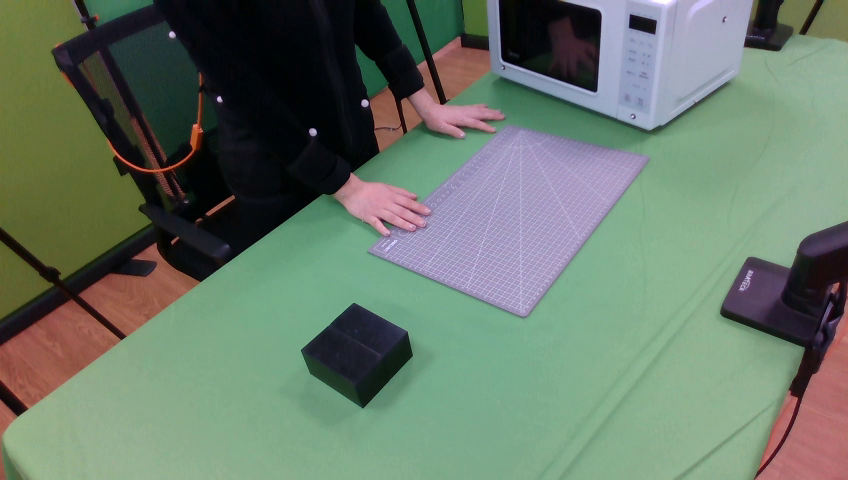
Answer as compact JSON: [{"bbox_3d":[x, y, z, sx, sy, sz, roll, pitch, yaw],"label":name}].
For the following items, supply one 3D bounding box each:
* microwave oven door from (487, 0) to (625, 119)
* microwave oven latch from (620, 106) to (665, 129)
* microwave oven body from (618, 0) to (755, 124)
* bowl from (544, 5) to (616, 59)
[{"bbox_3d":[0.262,-0.409,1.221,0.039,0.245,0.352,-33,45,-25],"label":"microwave oven door"},{"bbox_3d":[0.412,-0.237,1.146,0.030,0.029,0.078,-32,44,-23],"label":"microwave oven latch"},{"bbox_3d":[0.402,-0.458,1.259,0.327,0.261,0.437,-33,45,-24],"label":"microwave oven body"},{"bbox_3d":[0.332,-0.441,1.302,0.151,0.077,0.150,-3,40,3],"label":"bowl"}]
